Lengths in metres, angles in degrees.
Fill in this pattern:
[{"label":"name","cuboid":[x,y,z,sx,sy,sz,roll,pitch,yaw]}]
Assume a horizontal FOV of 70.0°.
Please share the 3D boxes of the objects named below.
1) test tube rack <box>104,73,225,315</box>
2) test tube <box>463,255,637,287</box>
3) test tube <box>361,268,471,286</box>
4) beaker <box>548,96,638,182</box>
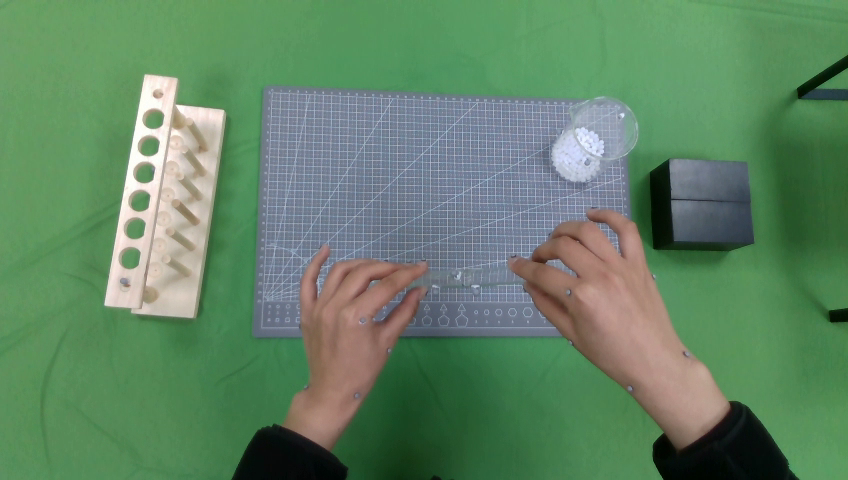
[{"label":"test tube rack","cuboid":[-0.273,-0.046,0.651,0.067,0.085,0.241,5,79,-5]},{"label":"test tube","cuboid":[0.108,0.026,0.514,0.151,0.017,0.017,-5,79,-5]},{"label":"test tube","cuboid":[-0.013,0.036,0.568,0.017,0.149,0.017,3,85,-40]},{"label":"beaker","cuboid":[0.190,-0.115,0.709,0.084,0.100,0.074,32,77,2]}]
